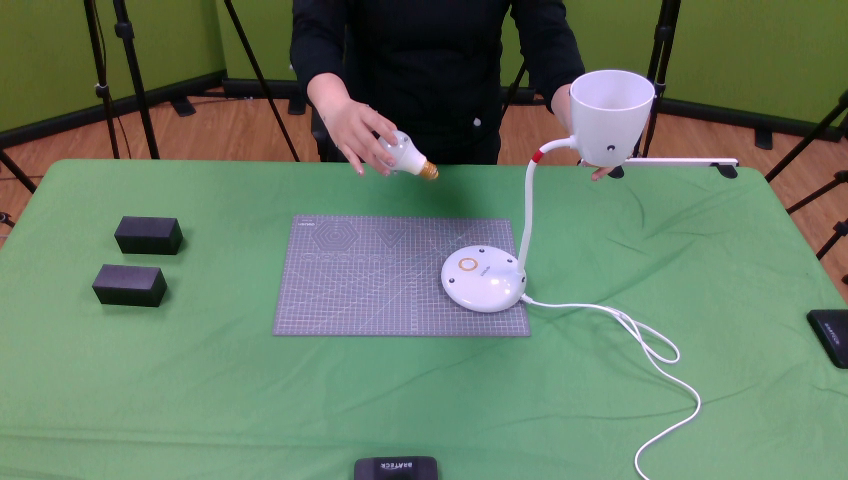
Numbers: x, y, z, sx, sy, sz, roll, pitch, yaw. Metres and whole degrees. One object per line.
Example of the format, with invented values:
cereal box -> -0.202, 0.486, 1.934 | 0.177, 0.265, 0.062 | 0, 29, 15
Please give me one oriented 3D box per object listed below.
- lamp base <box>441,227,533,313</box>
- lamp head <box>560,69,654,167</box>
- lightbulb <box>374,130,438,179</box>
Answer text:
lamp base -> 0.126, 0.021, 1.072 | 0.179, 0.181, 0.160 | 23, 49, 14
lamp head -> 0.255, -0.164, 0.862 | 0.112, 0.123, 0.111 | 0, 42, 0
lightbulb -> -0.026, -0.127, 0.929 | 0.108, 0.059, 0.059 | 29, 44, -15
